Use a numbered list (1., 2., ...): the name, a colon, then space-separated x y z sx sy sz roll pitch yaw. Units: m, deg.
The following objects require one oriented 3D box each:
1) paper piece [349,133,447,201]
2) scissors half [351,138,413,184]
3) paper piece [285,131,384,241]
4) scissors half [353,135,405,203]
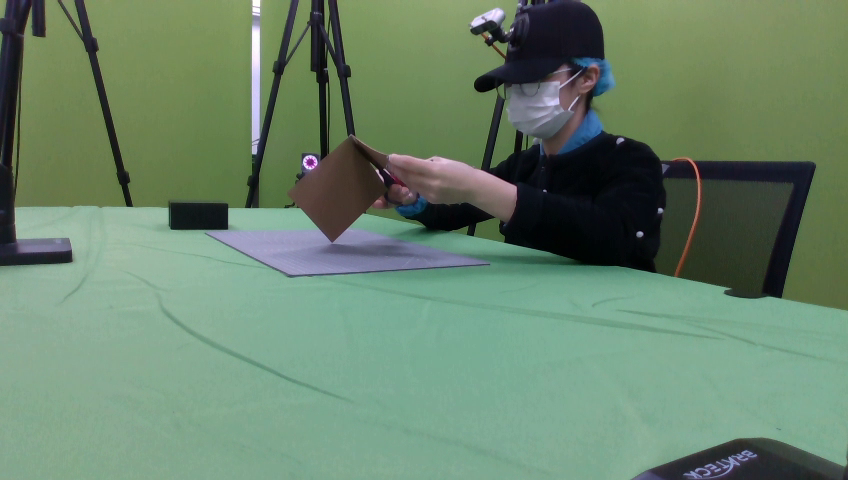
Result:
1. paper piece: -0.037 -0.112 0.937 0.137 0.008 0.137 38 8 40
2. scissors half: -0.067 -0.135 1.011 0.013 0.040 0.176 13 -5 34
3. paper piece: -0.137 -0.084 0.968 0.004 0.136 0.136 34 -14 42
4. scissors half: -0.076 -0.117 1.006 0.012 0.040 0.176 18 -24 35
